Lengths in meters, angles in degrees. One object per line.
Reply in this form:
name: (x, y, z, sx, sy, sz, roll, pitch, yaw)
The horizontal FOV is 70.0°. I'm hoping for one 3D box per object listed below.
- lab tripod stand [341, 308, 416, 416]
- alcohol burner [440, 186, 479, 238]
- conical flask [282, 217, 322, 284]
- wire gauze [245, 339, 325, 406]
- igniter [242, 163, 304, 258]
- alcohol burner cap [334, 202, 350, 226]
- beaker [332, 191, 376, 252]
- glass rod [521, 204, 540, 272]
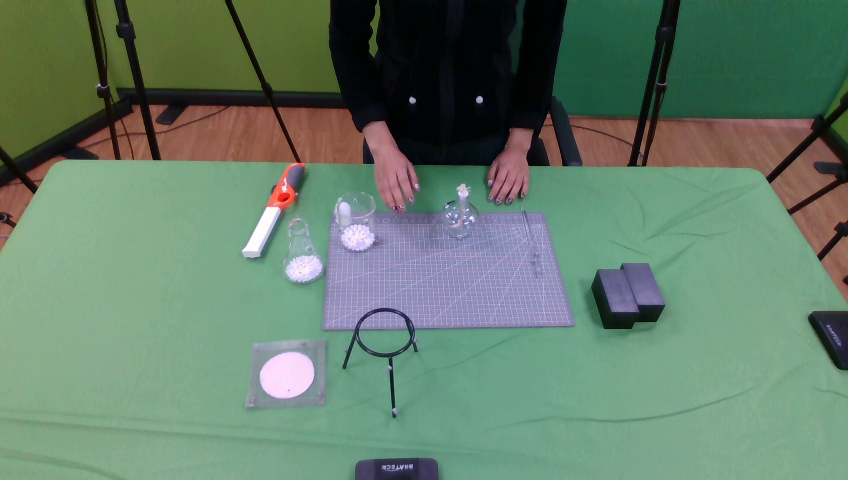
lab tripod stand: (-0.061, 0.177, 0.946, 0.148, 0.132, 0.147, 2, 44, -2)
alcohol burner: (0.072, -0.062, 1.198, 0.078, 0.119, 0.077, 3, 47, -3)
conical flask: (-0.225, 0.016, 1.097, 0.075, 0.122, 0.075, 2, 46, -2)
wire gauze: (-0.224, 0.214, 0.984, 0.125, 0.011, 0.120, -2, 46, -5)
igniter: (-0.305, -0.069, 1.239, 0.057, 0.025, 0.275, 2, 45, 12)
alcohol burner cap: (-0.166, -0.055, 1.222, 0.034, 0.048, 0.033, 2, 46, -2)
beaker: (-0.133, -0.032, 1.163, 0.084, 0.101, 0.073, -19, 50, -20)
glass rod: (0.215, -0.008, 1.230, 0.008, 0.008, 0.198, 0, 43, -3)
